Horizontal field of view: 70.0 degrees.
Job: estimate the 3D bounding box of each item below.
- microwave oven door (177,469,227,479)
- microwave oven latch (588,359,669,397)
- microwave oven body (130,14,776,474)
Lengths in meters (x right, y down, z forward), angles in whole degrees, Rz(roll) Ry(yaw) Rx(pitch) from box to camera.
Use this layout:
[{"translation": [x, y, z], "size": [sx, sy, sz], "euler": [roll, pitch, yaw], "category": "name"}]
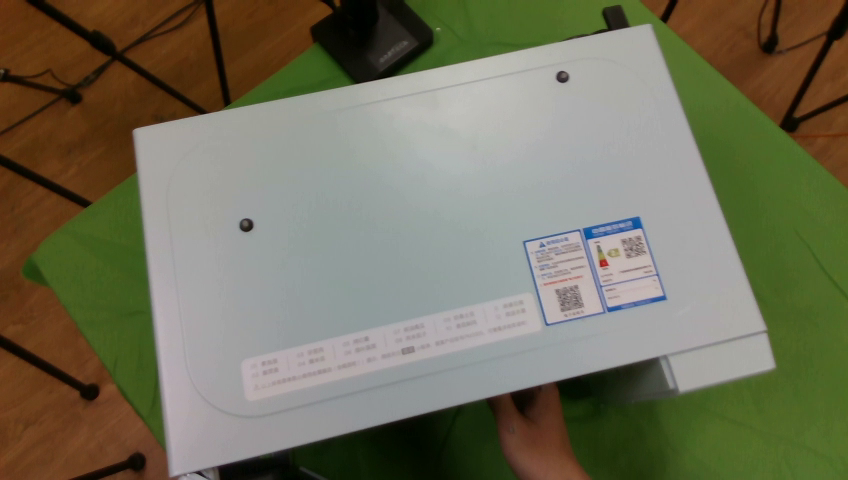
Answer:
[{"translation": [-0.019, 0.288, 0.496], "size": [0.355, 0.245, 0.039], "euler": [24, 62, 7], "category": "microwave oven door"}, {"translation": [0.217, 0.145, 0.644], "size": [0.079, 0.029, 0.030], "euler": [-12, 75, -3], "category": "microwave oven latch"}, {"translation": [0.010, 0.019, 0.579], "size": [0.442, 0.261, 0.324], "euler": [-13, 75, -3], "category": "microwave oven body"}]
